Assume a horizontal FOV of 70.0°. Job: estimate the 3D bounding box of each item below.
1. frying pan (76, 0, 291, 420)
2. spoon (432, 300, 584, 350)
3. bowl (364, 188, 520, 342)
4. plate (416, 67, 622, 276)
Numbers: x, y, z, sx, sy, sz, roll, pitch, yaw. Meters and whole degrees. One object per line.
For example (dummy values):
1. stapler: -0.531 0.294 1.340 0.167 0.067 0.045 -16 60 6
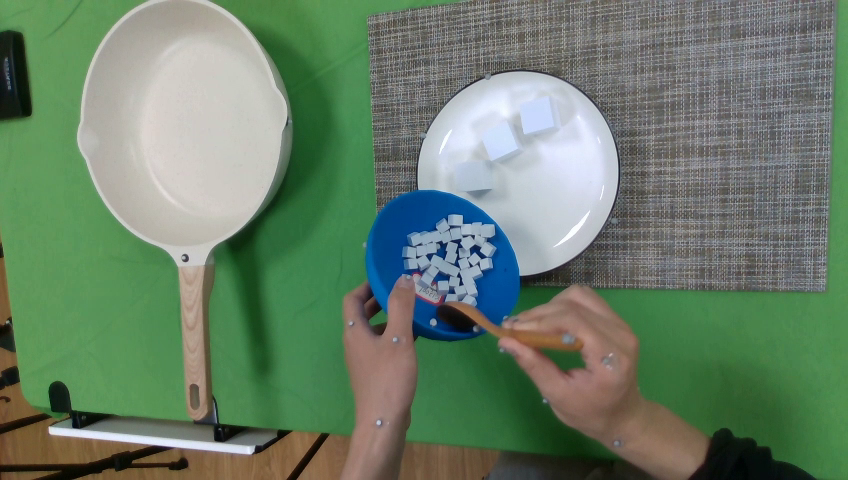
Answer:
1. frying pan: -0.280 -0.031 0.729 0.306 0.103 0.487 -2 87 21
2. spoon: 0.058 0.068 0.468 0.042 0.192 0.021 37 78 -21
3. bowl: 0.006 0.035 0.573 0.151 0.151 0.077 50 142 8
4. plate: 0.095 -0.067 0.620 0.207 0.039 0.208 2 97 20
